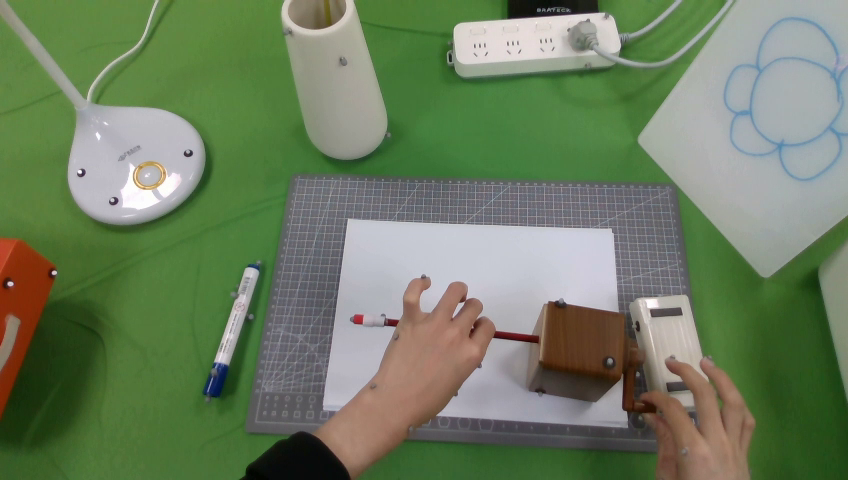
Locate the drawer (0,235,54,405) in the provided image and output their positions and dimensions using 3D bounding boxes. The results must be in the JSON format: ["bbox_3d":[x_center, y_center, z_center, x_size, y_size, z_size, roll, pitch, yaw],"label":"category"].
[{"bbox_3d":[-0.490,0.087,0.560,0.211,0.074,0.193,4,66,4],"label":"drawer"}]

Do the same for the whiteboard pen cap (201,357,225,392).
[{"bbox_3d":[-0.210,0.134,0.606,0.018,0.018,0.033,6,59,5],"label":"whiteboard pen cap"}]

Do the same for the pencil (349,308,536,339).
[{"bbox_3d":[0.029,0.078,0.546,0.194,0.012,0.012,7,64,1],"label":"pencil"}]

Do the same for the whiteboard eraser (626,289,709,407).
[{"bbox_3d":[0.238,0.105,0.597,0.055,0.042,0.111,-3,64,-1],"label":"whiteboard eraser"}]

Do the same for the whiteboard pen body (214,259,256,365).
[{"bbox_3d":[-0.200,0.083,0.634,0.017,0.017,0.139,6,61,5],"label":"whiteboard pen body"}]

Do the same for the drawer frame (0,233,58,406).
[{"bbox_3d":[-0.495,0.089,0.562,0.213,0.083,0.200,5,65,2],"label":"drawer frame"}]

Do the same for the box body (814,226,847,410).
[{"bbox_3d":[0.520,0.136,0.509,0.254,0.161,0.361,1,65,2],"label":"box body"}]

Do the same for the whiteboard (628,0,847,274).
[{"bbox_3d":[0.396,-0.150,0.604,0.144,0.307,0.215,-20,63,-28],"label":"whiteboard"}]

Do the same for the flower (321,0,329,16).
[{"bbox_3d":[-0.097,-0.232,0.593,0.038,0.365,0.043,-9,46,-10],"label":"flower"}]

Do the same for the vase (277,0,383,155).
[{"bbox_3d":[-0.101,-0.180,0.659,0.098,0.201,0.097,-1,64,3],"label":"vase"}]

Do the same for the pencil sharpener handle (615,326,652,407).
[{"bbox_3d":[0.185,0.111,0.531,0.030,0.036,0.067,8,74,6],"label":"pencil sharpener handle"}]

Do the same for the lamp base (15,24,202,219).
[{"bbox_3d":[-0.358,-0.136,0.657,0.178,0.182,0.160,33,69,19],"label":"lamp base"}]

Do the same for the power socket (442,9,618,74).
[{"bbox_3d":[0.137,-0.256,0.780,0.227,0.033,0.071,-3,65,0],"label":"power socket"}]

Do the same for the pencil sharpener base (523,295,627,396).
[{"bbox_3d":[0.138,0.102,0.565,0.076,0.108,0.061,8,65,6],"label":"pencil sharpener base"}]

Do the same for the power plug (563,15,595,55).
[{"bbox_3d":[0.189,-0.244,0.747,0.035,0.053,0.072,6,66,5],"label":"power plug"}]
